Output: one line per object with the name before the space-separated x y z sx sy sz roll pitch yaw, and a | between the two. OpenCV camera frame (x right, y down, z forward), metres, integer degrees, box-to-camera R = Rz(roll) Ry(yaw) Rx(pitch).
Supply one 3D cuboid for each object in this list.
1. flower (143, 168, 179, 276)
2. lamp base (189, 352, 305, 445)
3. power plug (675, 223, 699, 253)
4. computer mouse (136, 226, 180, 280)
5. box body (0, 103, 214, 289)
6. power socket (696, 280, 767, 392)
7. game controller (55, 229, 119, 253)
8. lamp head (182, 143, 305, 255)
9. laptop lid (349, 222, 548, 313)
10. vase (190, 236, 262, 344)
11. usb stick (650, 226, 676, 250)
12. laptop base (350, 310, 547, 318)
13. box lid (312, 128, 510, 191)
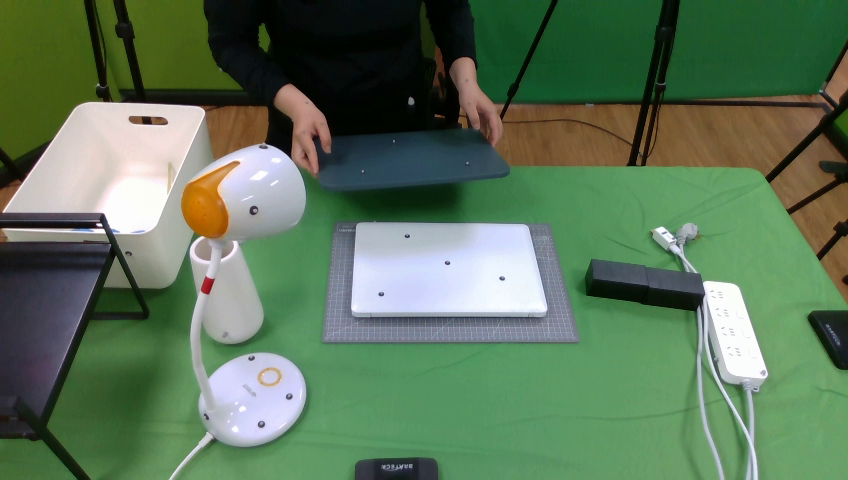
flower | -0.495 -0.053 1.173 0.044 0.038 0.359 -41 34 17
lamp base | -0.268 0.196 0.876 0.160 0.181 0.179 25 52 20
power plug | 0.537 0.000 1.244 0.053 0.035 0.072 19 83 -17
computer mouse | -0.491 0.020 1.118 0.063 0.041 0.116 1 54 -8
box body | -0.563 -0.087 1.139 0.254 0.161 0.361 2 46 -3
power socket | 0.543 0.160 1.078 0.072 0.033 0.225 5 46 2
game controller | -0.597 0.010 1.116 0.155 0.052 0.096 1 48 -1
lamp head | -0.216 -0.044 0.697 0.112 0.113 0.123 23 31 17
laptop lid | 0.042 0.046 1.142 0.357 0.013 0.240 2 44 -3
vase | -0.317 0.081 0.971 0.098 0.201 0.097 3 47 -3
usb stick | 0.485 -0.008 1.238 0.021 0.027 0.059 -22 44 -13
laptop base | 0.042 0.056 1.149 0.355 0.023 0.234 1 43 -4
box lid | -0.033 -0.167 1.216 0.372 0.015 0.261 -6 30 -11
